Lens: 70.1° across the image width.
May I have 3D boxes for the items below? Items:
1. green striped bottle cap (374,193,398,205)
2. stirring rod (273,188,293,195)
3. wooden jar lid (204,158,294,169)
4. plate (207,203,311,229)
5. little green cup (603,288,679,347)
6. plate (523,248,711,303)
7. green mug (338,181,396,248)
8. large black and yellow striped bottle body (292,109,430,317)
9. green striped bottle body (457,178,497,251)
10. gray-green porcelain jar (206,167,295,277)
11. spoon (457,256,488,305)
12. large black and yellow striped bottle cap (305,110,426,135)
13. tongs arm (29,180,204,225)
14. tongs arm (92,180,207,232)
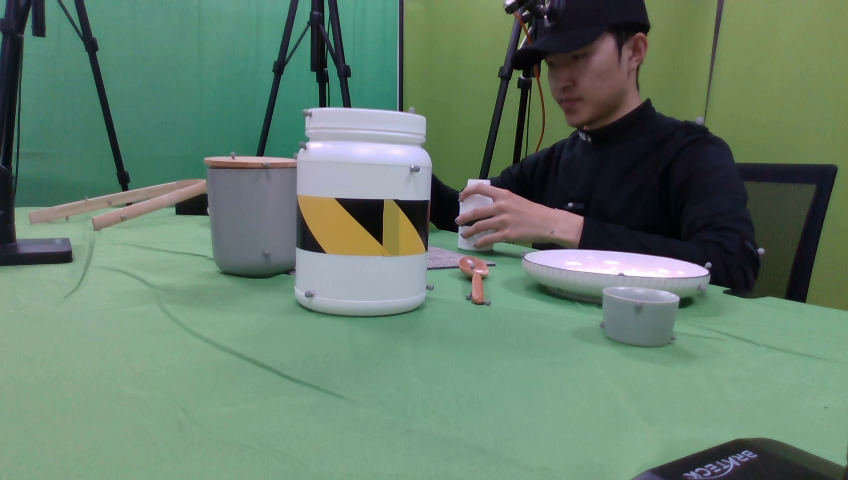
[{"bbox_3d":[-0.070,-0.074,1.108,0.044,0.020,0.044,0,1,0],"label":"green striped bottle cap"},{"bbox_3d":[-0.353,-0.122,1.518,0.006,0.014,0.176,2,7,2],"label":"stirring rod"},{"bbox_3d":[-0.202,-0.086,0.714,0.108,0.020,0.108,3,11,0],"label":"wooden jar lid"},{"bbox_3d":[-0.342,-0.050,1.259,0.208,0.039,0.207,3,7,0],"label":"plate"},{"bbox_3d":[0.180,0.064,0.505,0.061,0.038,0.061,2,6,0],"label":"little green cup"},{"bbox_3d":[0.219,0.041,0.706,0.209,0.038,0.209,2,7,0],"label":"plate"},{"bbox_3d":[-0.098,-0.044,0.995,0.093,0.105,0.125,-1,8,-21],"label":"green mug"},{"bbox_3d":[-0.060,-0.028,0.585,0.131,0.184,0.130,3,7,0],"label":"large black and yellow striped bottle body"},{"bbox_3d":[0.091,-0.044,1.024,0.063,0.119,0.063,3,7,0],"label":"green striped bottle body"},{"bbox_3d":[-0.201,-0.024,0.724,0.106,0.126,0.106,-1,9,1],"label":"gray-green porcelain jar"},{"bbox_3d":[0.059,0.044,0.696,0.041,0.021,0.193,23,7,0],"label":"spoon"},{"bbox_3d":[-0.055,-0.110,0.574,0.115,0.019,0.115,1,7,0],"label":"large black and yellow striped bottle cap"},{"bbox_3d":[-0.609,-0.083,1.245,0.050,0.026,0.386,5,16,23],"label":"tongs arm"},{"bbox_3d":[-0.534,-0.076,1.221,0.028,0.028,0.388,-2,15,12],"label":"tongs arm"}]
